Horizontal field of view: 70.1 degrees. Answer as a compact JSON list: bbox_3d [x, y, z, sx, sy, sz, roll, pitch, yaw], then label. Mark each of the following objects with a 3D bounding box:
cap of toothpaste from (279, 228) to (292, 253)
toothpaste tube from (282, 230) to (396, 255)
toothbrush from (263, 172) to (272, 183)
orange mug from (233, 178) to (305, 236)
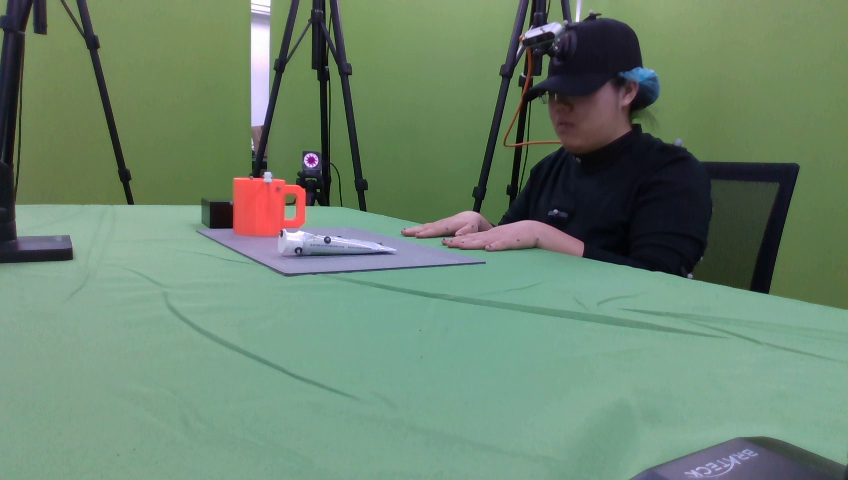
[{"bbox_3d":[-0.189,0.001,0.826,0.011,0.037,0.037,6,4,-30],"label":"cap of toothpaste"},{"bbox_3d":[-0.123,0.007,0.867,0.166,0.034,0.055,4,9,-34],"label":"toothpaste tube"},{"bbox_3d":[-0.273,-0.112,1.055,0.014,0.016,0.181,-7,9,-13],"label":"toothbrush"},{"bbox_3d":[-0.273,-0.061,1.067,0.127,0.101,0.083,-5,10,-24],"label":"orange mug"}]
